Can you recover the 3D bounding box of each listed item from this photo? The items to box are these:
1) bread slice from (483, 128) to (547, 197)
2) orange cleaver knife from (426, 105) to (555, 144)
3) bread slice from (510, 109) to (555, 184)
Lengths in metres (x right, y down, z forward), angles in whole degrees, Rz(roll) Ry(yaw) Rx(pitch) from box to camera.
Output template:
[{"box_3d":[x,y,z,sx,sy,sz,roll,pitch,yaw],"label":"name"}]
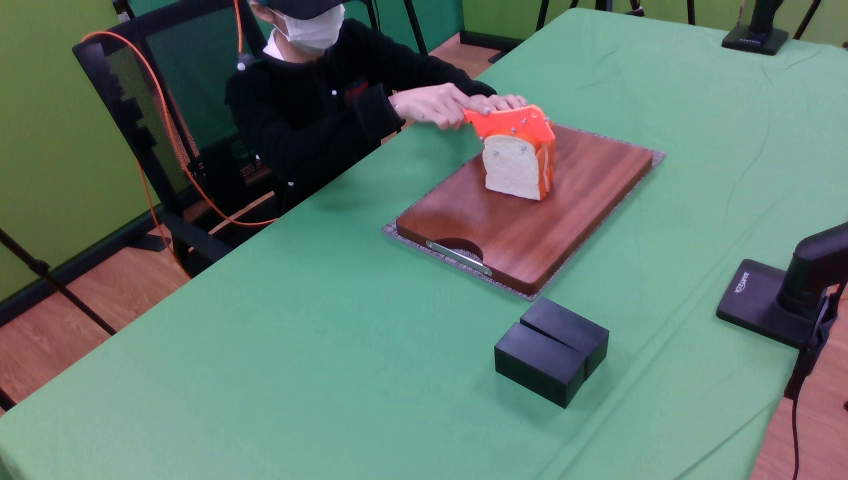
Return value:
[{"box_3d":[0.142,-0.124,0.972,0.104,0.132,0.019,13,55,25],"label":"bread slice"},{"box_3d":[0.101,-0.181,0.947,0.210,0.078,0.012,9,52,31],"label":"orange cleaver knife"},{"box_3d":[0.168,-0.155,1.003,0.106,0.135,0.018,16,49,19],"label":"bread slice"}]
